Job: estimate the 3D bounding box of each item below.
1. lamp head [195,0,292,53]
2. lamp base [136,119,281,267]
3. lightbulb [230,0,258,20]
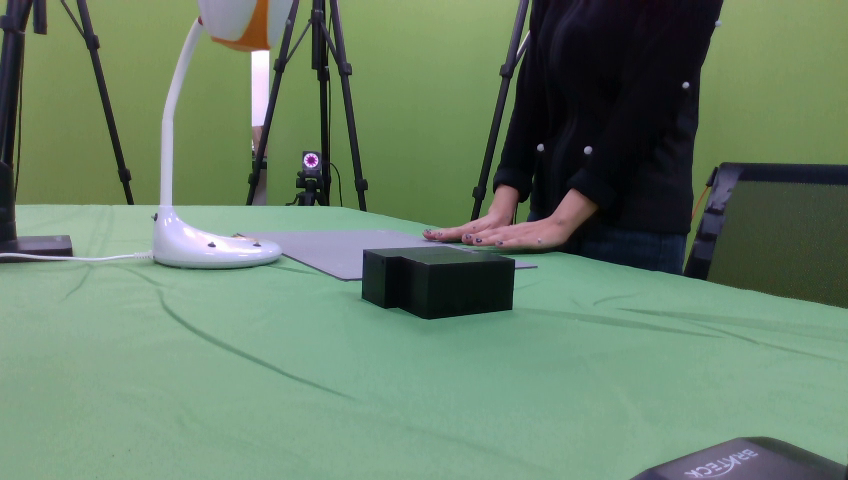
[{"bbox_3d":[-0.185,-0.254,0.611,0.112,0.123,0.112,10,20,-3],"label":"lamp head"},{"bbox_3d":[-0.275,-0.061,0.773,0.160,0.180,0.180,9,13,44],"label":"lamp base"},{"bbox_3d":[-0.175,-0.276,0.604,0.059,0.107,0.059,10,11,-2],"label":"lightbulb"}]
